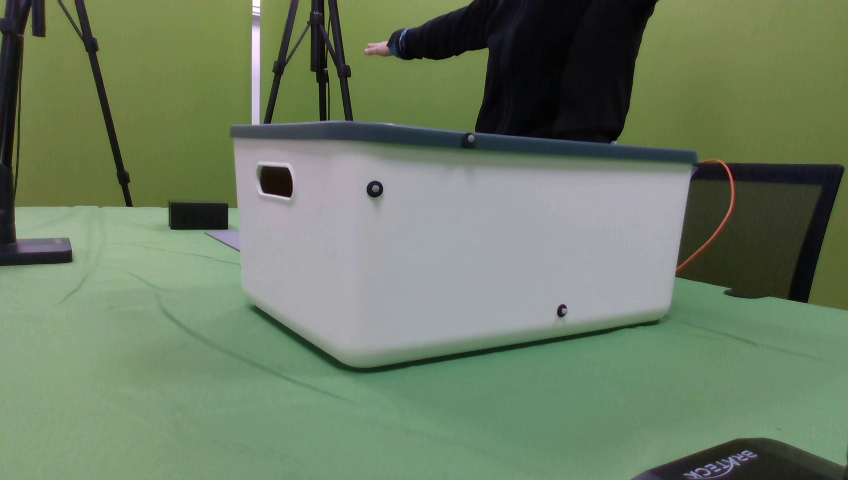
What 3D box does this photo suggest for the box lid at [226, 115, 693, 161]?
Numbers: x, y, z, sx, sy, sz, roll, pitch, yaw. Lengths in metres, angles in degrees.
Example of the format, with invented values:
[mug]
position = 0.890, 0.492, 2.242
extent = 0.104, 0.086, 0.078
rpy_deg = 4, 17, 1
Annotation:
[box lid]
position = 0.031, -0.086, 0.554
extent = 0.373, 0.015, 0.262
rpy_deg = -2, 8, -33

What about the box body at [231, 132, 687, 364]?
[box body]
position = 0.031, -0.013, 0.563
extent = 0.366, 0.160, 0.253
rpy_deg = -3, 8, -33

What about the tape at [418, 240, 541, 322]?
[tape]
position = 0.052, 0.035, 0.571
extent = 0.117, 0.052, 0.117
rpy_deg = 1, 10, 0
